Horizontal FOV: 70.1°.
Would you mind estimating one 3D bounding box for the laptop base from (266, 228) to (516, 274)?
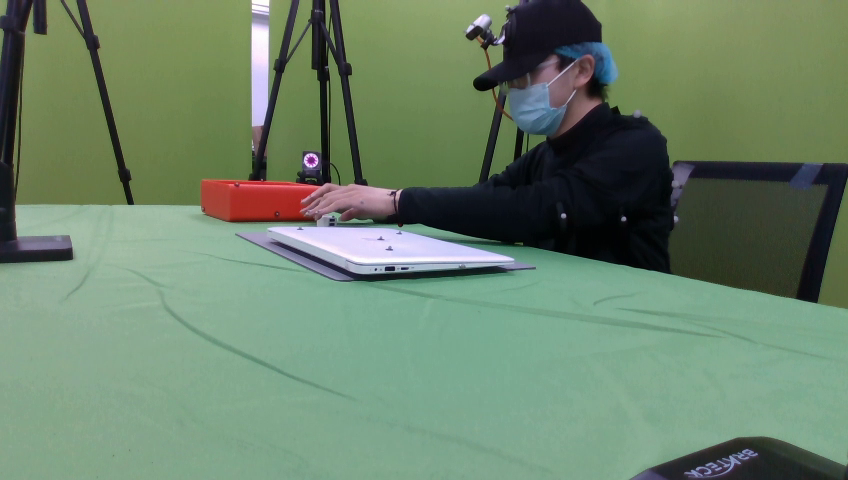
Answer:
[{"bbox_3d":[-0.066,0.014,0.877,0.237,0.023,0.352,2,6,-32],"label":"laptop base"}]

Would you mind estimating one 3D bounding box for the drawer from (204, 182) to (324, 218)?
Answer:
[{"bbox_3d":[-0.360,-0.092,1.358,0.213,0.073,0.193,-3,10,-36],"label":"drawer"}]

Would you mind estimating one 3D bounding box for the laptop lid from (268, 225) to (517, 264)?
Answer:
[{"bbox_3d":[-0.063,0.002,0.877,0.243,0.013,0.355,1,7,-30],"label":"laptop lid"}]

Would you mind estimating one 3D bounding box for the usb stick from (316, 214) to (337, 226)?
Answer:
[{"bbox_3d":[-0.199,-0.037,1.212,0.021,0.027,0.059,-4,5,-38],"label":"usb stick"}]

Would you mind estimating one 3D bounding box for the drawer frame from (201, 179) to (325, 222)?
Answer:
[{"bbox_3d":[-0.361,-0.092,1.356,0.215,0.082,0.200,-4,10,-37],"label":"drawer frame"}]
